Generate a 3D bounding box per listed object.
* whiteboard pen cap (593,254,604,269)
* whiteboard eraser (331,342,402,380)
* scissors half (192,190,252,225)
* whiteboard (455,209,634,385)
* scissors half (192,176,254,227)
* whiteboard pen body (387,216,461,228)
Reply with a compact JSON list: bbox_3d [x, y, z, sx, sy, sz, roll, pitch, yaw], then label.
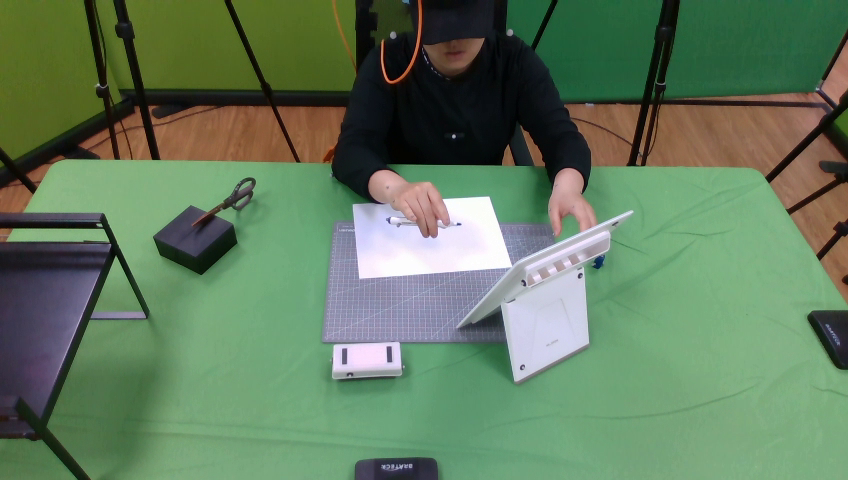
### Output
[{"bbox_3d":[0.340,0.041,1.179,0.018,0.033,0.018,0,45,0],"label":"whiteboard pen cap"},{"bbox_3d":[-0.094,0.198,0.986,0.113,0.042,0.055,-2,44,-6],"label":"whiteboard eraser"},{"bbox_3d":[-0.393,-0.060,1.187,0.013,0.040,0.175,25,29,12],"label":"scissors half"},{"bbox_3d":[0.211,0.111,0.955,0.217,0.306,0.143,-21,71,-23],"label":"whiteboard"},{"bbox_3d":[-0.388,-0.075,1.174,0.013,0.040,0.174,29,47,8],"label":"scissors half"},{"bbox_3d":[0.000,-0.031,1.071,0.140,0.017,0.017,4,44,21],"label":"whiteboard pen body"}]
